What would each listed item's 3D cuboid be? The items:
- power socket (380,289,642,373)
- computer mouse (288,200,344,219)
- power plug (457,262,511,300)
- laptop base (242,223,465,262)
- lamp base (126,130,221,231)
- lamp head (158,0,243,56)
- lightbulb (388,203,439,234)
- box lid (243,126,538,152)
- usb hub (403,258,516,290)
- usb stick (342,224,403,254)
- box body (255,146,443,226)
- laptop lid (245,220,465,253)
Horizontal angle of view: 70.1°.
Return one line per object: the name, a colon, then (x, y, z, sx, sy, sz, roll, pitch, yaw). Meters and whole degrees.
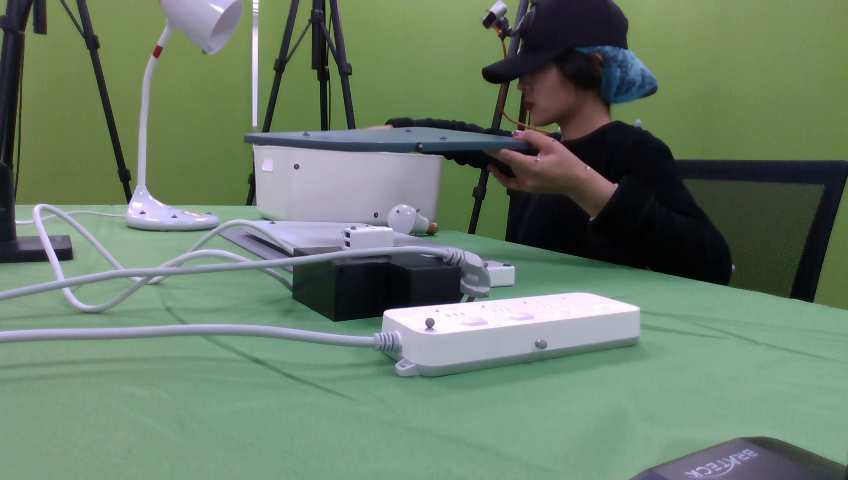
power socket: (0.072, 0.064, 0.461, 0.228, 0.032, 0.072, -2, 8, -30)
computer mouse: (-0.234, -0.064, 1.314, 0.118, 0.041, 0.062, 4, 3, -32)
power plug: (0.052, 0.051, 0.543, 0.035, 0.052, 0.072, 5, 38, -19)
laptop base: (-0.126, 0.003, 0.946, 0.237, 0.023, 0.352, 2, 6, -31)
lamp base: (-0.469, -0.112, 1.108, 0.179, 0.180, 0.160, 0, 7, 3)
lamp head: (-0.399, -0.397, 1.057, 0.123, 0.112, 0.112, 27, 5, -7)
lightbulb: (-0.018, -0.035, 1.162, 0.108, 0.059, 0.059, 16, 0, -27)
box lid: (-0.038, -0.147, 0.862, 0.262, 0.015, 0.373, 12, 17, 42)
usb hub: (0.042, 0.038, 0.690, 0.126, 0.025, 0.049, -2, 9, -30)
usb stick: (-0.047, -0.001, 0.567, 0.059, 0.027, 0.021, 0, 5, -32)
box body: (-0.169, -0.120, 1.343, 0.366, 0.160, 0.253, -2, 8, -31)
laptop lid: (-0.124, -0.009, 0.945, 0.243, 0.013, 0.355, 1, 7, -29)
